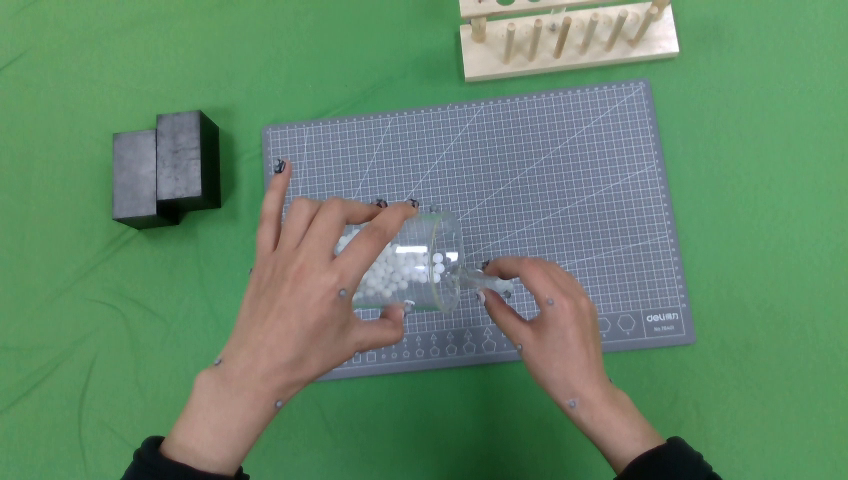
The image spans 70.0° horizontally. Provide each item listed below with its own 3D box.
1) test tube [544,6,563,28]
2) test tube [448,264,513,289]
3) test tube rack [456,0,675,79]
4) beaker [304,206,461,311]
[{"bbox_3d":[0.143,-0.266,0.624,0.017,0.151,0.017,0,76,2],"label":"test tube"},{"bbox_3d":[0.054,0.034,0.536,0.017,0.151,0.017,-3,83,23],"label":"test tube"},{"bbox_3d":[0.159,-0.240,0.668,0.242,0.085,0.066,-6,79,3],"label":"test tube rack"},{"bbox_3d":[-0.029,0.015,0.449,0.100,0.085,0.073,0,72,20],"label":"beaker"}]
